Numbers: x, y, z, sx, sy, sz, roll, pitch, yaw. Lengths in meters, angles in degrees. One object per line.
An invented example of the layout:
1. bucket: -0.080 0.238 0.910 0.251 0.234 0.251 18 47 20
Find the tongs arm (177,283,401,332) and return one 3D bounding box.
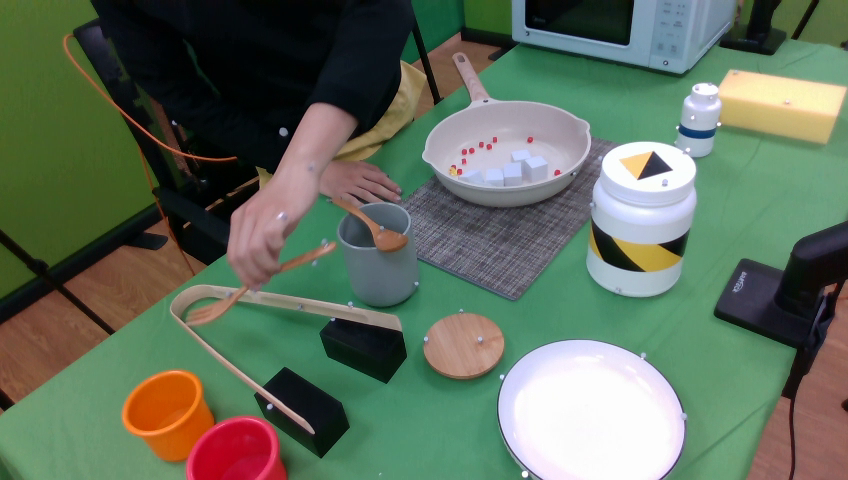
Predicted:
1. tongs arm: -0.199 0.096 0.823 0.382 0.027 0.051 7 44 34

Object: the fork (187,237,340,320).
1. fork: -0.181 0.043 0.670 0.207 0.019 0.028 -28 39 17

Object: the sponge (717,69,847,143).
1. sponge: 0.663 -0.256 1.142 0.205 0.061 0.118 19 47 28

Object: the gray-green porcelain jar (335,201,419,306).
1. gray-green porcelain jar: -0.064 0.024 0.872 0.106 0.127 0.105 -4 41 4

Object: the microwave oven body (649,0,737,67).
1. microwave oven body: 0.475 -0.602 1.411 0.438 0.261 0.327 23 50 32

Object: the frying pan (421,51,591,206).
1. frying pan: 0.127 -0.233 1.155 0.307 0.103 0.484 -11 49 -5

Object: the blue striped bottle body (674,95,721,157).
1. blue striped bottle body: 0.486 -0.213 1.072 0.063 0.121 0.063 -4 41 4

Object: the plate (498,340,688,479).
1. plate: 0.189 0.206 0.692 0.207 0.039 0.206 -4 40 4

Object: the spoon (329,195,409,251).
1. spoon: -0.081 -0.029 0.828 0.042 0.022 0.192 -31 42 -21

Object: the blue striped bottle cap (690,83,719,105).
1. blue striped bottle cap: 0.481 -0.251 1.038 0.044 0.021 0.044 -5 39 5

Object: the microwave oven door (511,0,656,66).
1. microwave oven door: 0.350 -0.539 1.348 0.353 0.245 0.039 24 50 31

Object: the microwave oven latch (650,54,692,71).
1. microwave oven latch: 0.531 -0.386 1.301 0.078 0.029 0.030 25 51 33

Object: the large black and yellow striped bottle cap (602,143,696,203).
1. large black and yellow striped bottle cap: 0.289 -0.088 0.779 0.115 0.019 0.114 -5 39 4

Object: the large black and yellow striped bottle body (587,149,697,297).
1. large black and yellow striped bottle body: 0.298 -0.026 0.835 0.131 0.185 0.130 -4 41 4

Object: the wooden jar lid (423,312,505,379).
1. wooden jar lid: 0.053 0.142 0.800 0.108 0.021 0.108 -4 40 4

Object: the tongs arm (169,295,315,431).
1. tongs arm: -0.248 0.147 0.774 0.384 0.028 0.028 20 56 44
